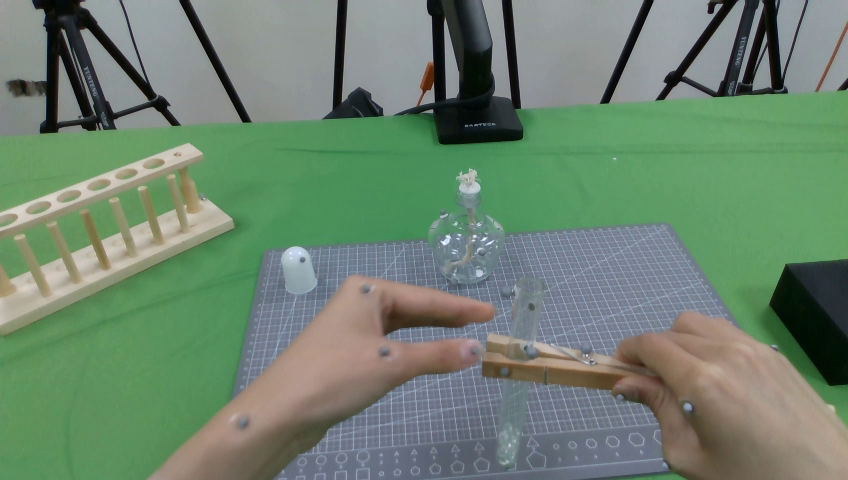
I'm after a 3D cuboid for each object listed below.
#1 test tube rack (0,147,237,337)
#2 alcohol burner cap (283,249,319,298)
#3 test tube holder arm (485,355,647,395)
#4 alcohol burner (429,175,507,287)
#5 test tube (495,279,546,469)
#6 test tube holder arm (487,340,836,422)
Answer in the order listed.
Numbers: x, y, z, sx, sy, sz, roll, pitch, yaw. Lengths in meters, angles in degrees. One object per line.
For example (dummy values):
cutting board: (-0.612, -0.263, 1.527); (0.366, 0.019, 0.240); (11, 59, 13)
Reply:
test tube rack: (-0.326, -0.007, 0.623); (0.242, 0.086, 0.066); (-30, 45, -32)
alcohol burner cap: (-0.123, 0.030, 0.599); (0.034, 0.048, 0.033); (0, 38, 1)
test tube holder arm: (0.078, 0.075, 0.338); (0.087, 0.015, 0.010); (3, 41, 11)
alcohol burner: (0.043, -0.013, 0.591); (0.078, 0.120, 0.077); (0, 39, 0)
test tube: (0.055, 0.086, 0.357); (0.017, 0.151, 0.017); (1, 35, 0)
test tube holder arm: (0.123, 0.076, 0.332); (0.178, 0.015, 0.013); (6, 42, 15)
